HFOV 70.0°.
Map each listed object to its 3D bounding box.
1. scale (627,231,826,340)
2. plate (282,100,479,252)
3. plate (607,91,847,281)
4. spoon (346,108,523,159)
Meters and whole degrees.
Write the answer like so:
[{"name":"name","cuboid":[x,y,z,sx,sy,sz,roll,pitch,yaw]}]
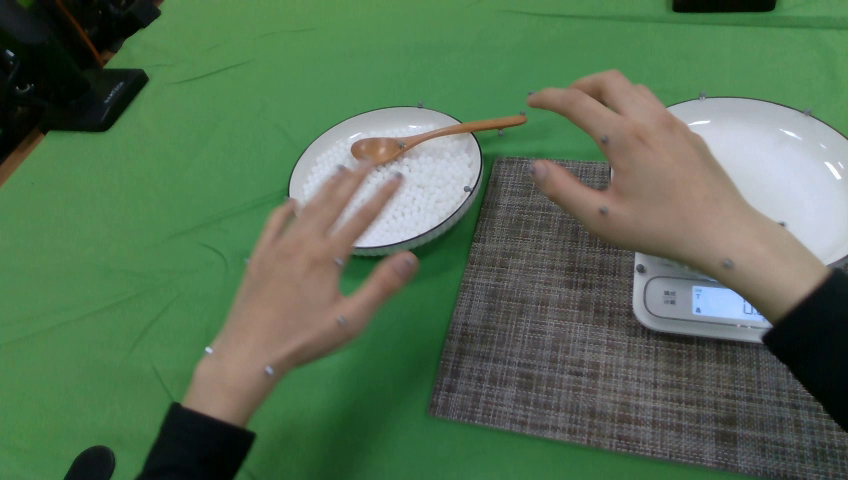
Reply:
[{"name":"scale","cuboid":[0.260,-0.011,0.532,0.148,0.032,0.199,5,54,16]},{"name":"plate","cuboid":[-0.045,-0.067,0.642,0.209,0.038,0.207,-5,52,7]},{"name":"plate","cuboid":[0.263,-0.047,0.518,0.207,0.039,0.205,-5,52,7]},{"name":"spoon","cuboid":[0.010,-0.117,0.649,0.193,0.022,0.041,-11,50,12]}]
